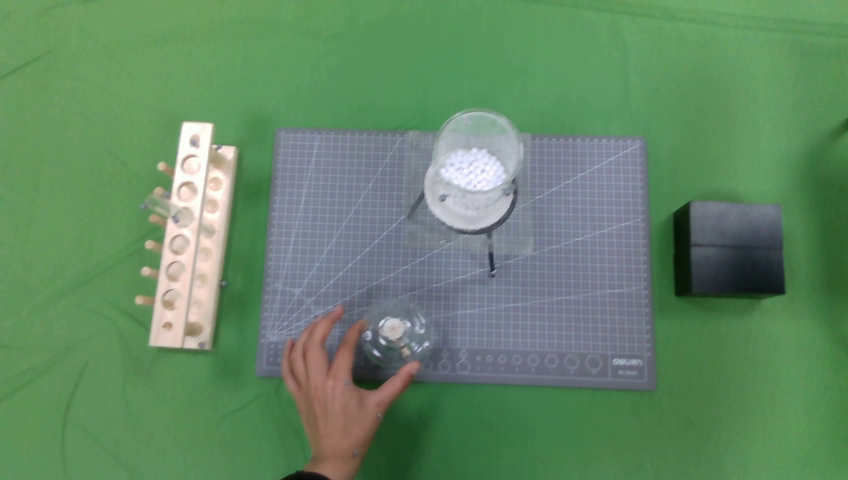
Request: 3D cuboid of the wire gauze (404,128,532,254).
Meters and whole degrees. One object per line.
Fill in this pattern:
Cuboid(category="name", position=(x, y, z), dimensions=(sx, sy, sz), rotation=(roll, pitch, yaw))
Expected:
Cuboid(category="wire gauze", position=(0.044, -0.050, 0.587), dimensions=(0.125, 0.011, 0.121), rotation=(3, 80, -1))

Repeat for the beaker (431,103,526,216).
Cuboid(category="beaker", position=(0.043, -0.064, 0.541), dimensions=(0.084, 0.100, 0.073), rotation=(-32, 80, -5))

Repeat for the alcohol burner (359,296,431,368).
Cuboid(category="alcohol burner", position=(-0.032, 0.096, 0.638), dimensions=(0.078, 0.119, 0.077), rotation=(0, 79, 0))

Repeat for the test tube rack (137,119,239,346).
Cuboid(category="test tube rack", position=(-0.268, -0.006, 0.679), dimensions=(0.067, 0.085, 0.241), rotation=(4, 79, 2))

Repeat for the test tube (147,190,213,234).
Cuboid(category="test tube", position=(-0.250, -0.026, 0.632), dimensions=(0.017, 0.150, 0.017), rotation=(0, 80, -1))

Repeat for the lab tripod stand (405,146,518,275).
Cuboid(category="lab tripod stand", position=(0.049, -0.041, 0.652), dimensions=(0.148, 0.132, 0.147), rotation=(0, 77, 2))
